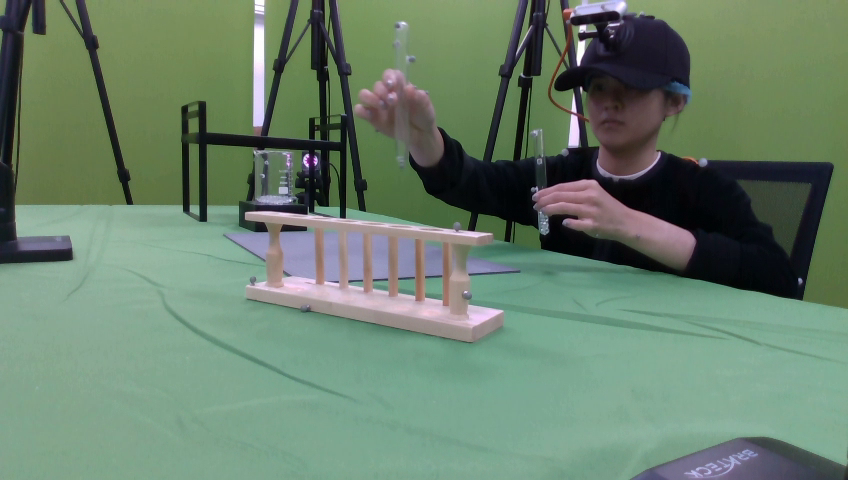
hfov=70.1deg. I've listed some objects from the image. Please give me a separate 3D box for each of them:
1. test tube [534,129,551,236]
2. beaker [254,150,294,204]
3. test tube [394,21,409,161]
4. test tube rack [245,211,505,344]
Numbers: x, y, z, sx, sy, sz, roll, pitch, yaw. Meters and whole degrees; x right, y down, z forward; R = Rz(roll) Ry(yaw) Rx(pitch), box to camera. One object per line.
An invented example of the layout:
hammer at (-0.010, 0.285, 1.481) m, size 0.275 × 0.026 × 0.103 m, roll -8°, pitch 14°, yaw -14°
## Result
test tube at (0.165, -0.079, 0.843) m, size 0.017 × 0.150 × 0.017 m, roll -5°, pitch 10°, yaw 1°
beaker at (-0.289, -0.120, 1.151) m, size 0.073 × 0.100 × 0.084 m, roll 8°, pitch 9°, yaw 33°
test tube at (-0.025, -0.162, 0.665) m, size 0.017 × 0.150 × 0.017 m, roll 0°, pitch 7°, yaw 0°
test tube rack at (-0.049, 0.024, 0.547) m, size 0.241 × 0.085 × 0.067 m, roll 7°, pitch 8°, yaw 29°
